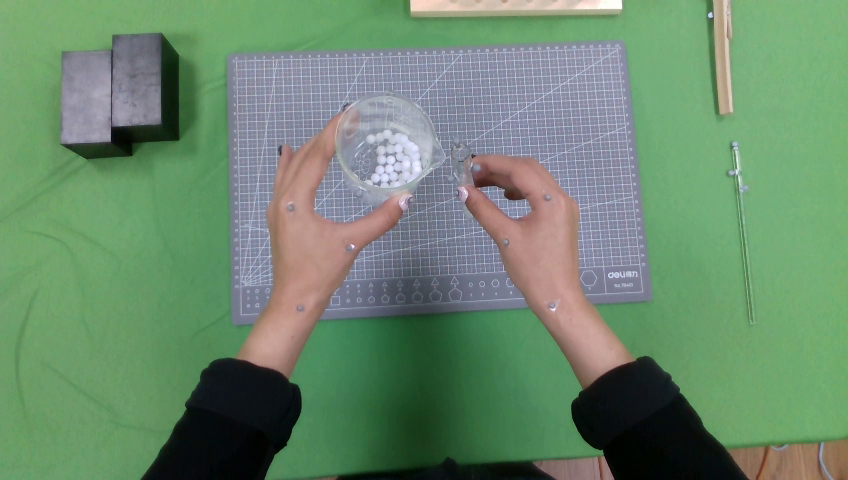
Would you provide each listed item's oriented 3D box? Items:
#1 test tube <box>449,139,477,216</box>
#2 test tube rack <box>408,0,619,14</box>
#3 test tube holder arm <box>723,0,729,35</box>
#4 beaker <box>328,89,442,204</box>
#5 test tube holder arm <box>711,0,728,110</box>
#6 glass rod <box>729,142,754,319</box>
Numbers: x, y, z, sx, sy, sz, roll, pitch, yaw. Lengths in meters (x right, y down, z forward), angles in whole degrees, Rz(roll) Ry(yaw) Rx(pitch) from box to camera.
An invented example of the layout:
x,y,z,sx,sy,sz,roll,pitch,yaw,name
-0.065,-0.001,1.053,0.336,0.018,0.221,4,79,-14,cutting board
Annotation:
x,y,z,sx,sy,sz,roll,pitch,yaw,name
0.035,-0.048,0.515,0.017,0.151,0.017,-2,75,7,test tube
0.103,-0.301,0.663,0.242,0.085,0.066,-2,82,-3,test tube rack
0.346,-0.280,0.705,0.010,0.015,0.087,8,81,-31,test tube holder arm
-0.032,-0.068,0.486,0.084,0.100,0.074,12,85,-5,beaker
0.339,-0.236,0.696,0.013,0.015,0.178,7,81,-31,test tube holder arm
0.352,-0.012,0.674,0.008,0.008,0.199,-1,82,-3,glass rod
